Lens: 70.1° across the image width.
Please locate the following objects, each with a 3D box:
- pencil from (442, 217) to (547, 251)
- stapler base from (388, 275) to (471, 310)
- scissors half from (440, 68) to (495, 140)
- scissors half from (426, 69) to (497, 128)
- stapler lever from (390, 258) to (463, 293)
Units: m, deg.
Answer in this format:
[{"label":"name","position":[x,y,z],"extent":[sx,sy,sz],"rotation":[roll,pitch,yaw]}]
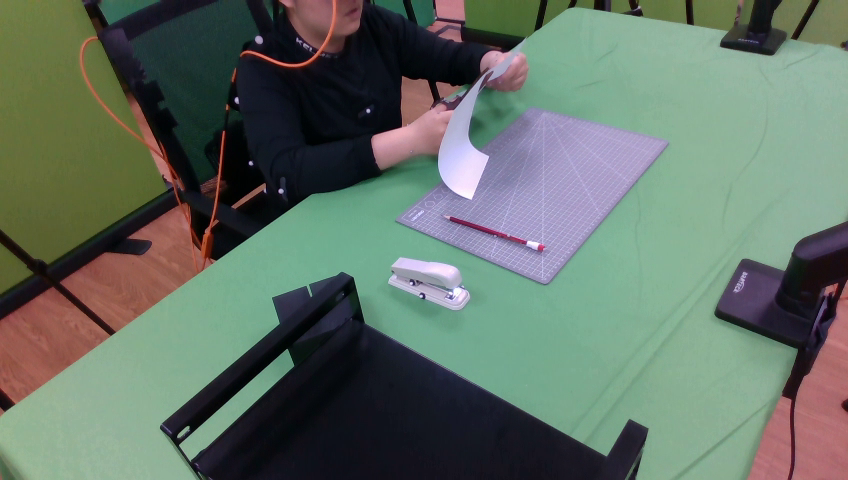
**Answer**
[{"label":"pencil","position":[0.110,-0.012,0.980],"extent":[0.192,0.012,0.012],"rotation":[18,46,30]},{"label":"stapler base","position":[0.007,0.066,0.897],"extent":[0.129,0.024,0.041],"rotation":[17,43,29]},{"label":"scissors half","position":[0.081,-0.244,1.095],"extent":[0.040,0.175,0.013],"rotation":[30,43,-6]},{"label":"scissors half","position":[0.065,-0.257,1.091],"extent":[0.174,0.040,0.013],"rotation":[-28,20,38]},{"label":"stapler lever","position":[0.003,0.046,0.881],"extent":[0.117,0.040,0.027],"rotation":[17,44,29]}]
